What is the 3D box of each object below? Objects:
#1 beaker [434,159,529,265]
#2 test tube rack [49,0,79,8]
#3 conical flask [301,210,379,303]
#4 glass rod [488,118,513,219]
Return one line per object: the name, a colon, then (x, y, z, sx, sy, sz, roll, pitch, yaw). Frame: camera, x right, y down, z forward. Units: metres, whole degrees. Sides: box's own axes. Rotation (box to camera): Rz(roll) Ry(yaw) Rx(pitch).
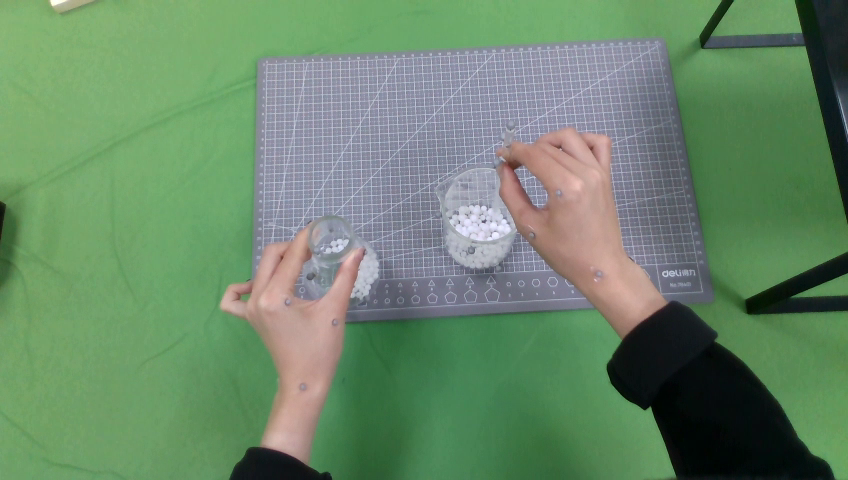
beaker: (0.049, -0.022, 0.563, 0.084, 0.101, 0.073, 20, 74, 8)
test tube rack: (-0.325, -0.352, 0.672, 0.242, 0.085, 0.066, -24, 74, -6)
conical flask: (-0.078, 0.010, 0.535, 0.075, 0.122, 0.075, 1, 74, -3)
glass rod: (0.062, -0.052, 0.506, 0.008, 0.201, 0.008, -1, 73, 2)
